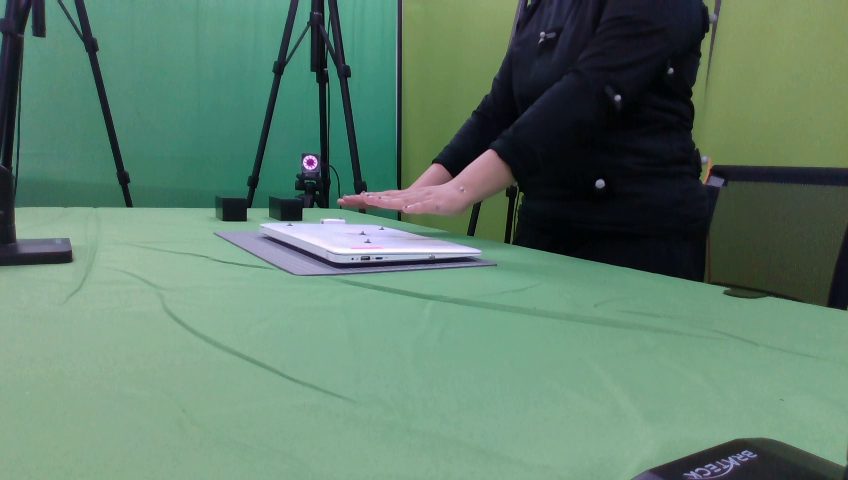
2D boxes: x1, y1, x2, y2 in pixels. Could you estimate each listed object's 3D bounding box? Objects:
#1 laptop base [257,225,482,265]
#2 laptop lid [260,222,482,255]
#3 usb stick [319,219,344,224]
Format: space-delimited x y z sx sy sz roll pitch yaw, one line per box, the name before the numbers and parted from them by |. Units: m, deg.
laptop base | -0.102 0.007 0.962 0.237 0.023 0.352 2 6 -32
laptop lid | -0.100 -0.005 0.962 0.243 0.013 0.355 1 7 -30
usb stick | -0.183 -0.027 1.153 0.059 0.027 0.021 -4 12 -29
